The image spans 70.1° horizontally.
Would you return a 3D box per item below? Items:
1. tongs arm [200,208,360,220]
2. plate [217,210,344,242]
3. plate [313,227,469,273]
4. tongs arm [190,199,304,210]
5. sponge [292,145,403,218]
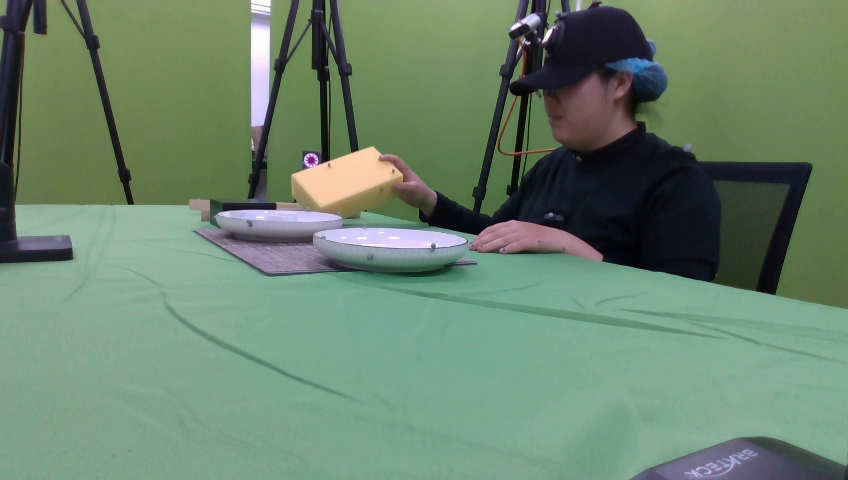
[{"bbox_3d":[-0.302,-0.060,1.350,0.390,0.028,0.028,-3,7,-38],"label":"tongs arm"},{"bbox_3d":[-0.241,-0.024,1.026,0.208,0.039,0.207,3,7,0],"label":"plate"},{"bbox_3d":[-0.044,0.012,0.807,0.209,0.038,0.209,2,7,0],"label":"plate"},{"bbox_3d":[-0.341,-0.075,1.419,0.387,0.026,0.050,0,8,-25],"label":"tongs arm"},{"bbox_3d":[-0.161,-0.117,1.280,0.208,0.061,0.117,-26,56,-32],"label":"sponge"}]
